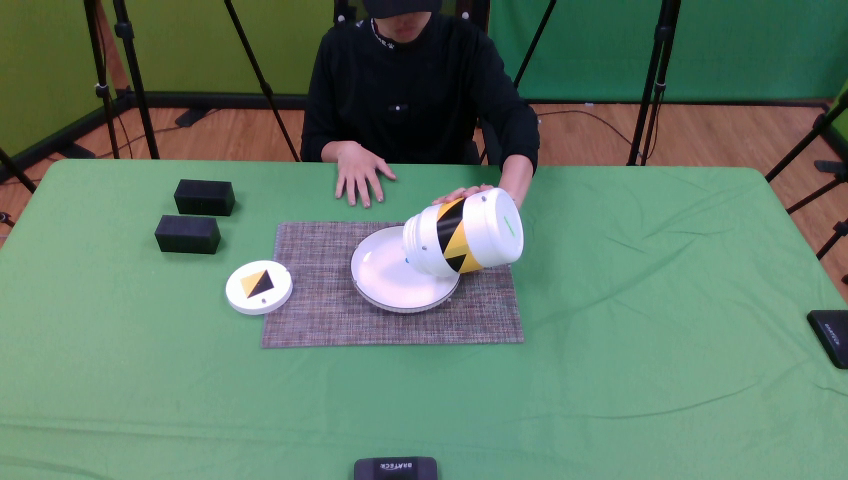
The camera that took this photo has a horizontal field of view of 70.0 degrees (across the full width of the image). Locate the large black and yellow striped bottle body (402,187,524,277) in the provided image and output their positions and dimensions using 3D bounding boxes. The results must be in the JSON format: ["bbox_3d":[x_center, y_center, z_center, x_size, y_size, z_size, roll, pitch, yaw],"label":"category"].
[{"bbox_3d":[0.066,-0.008,1.055,0.184,0.131,0.130,-14,39,28],"label":"large black and yellow striped bottle body"}]

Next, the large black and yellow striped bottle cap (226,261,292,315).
[{"bbox_3d":[-0.298,0.085,1.092,0.115,0.019,0.114,0,45,1],"label":"large black and yellow striped bottle cap"}]

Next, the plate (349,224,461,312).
[{"bbox_3d":[-0.035,0.054,1.126,0.208,0.039,0.206,2,46,-2],"label":"plate"}]
